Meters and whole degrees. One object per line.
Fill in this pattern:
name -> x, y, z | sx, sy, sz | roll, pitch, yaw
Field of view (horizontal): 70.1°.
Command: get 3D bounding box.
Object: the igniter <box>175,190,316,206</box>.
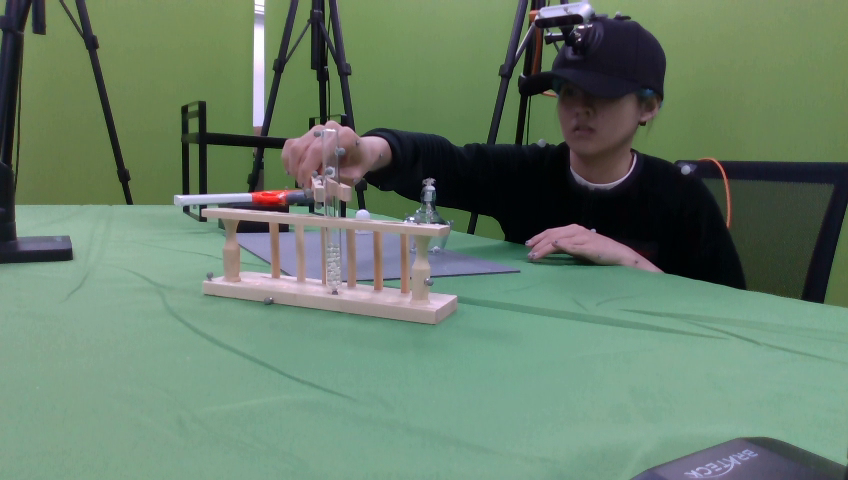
igniter -> -0.315, -0.079, 1.128 | 0.278, 0.025, 0.057 | -5, 13, -34

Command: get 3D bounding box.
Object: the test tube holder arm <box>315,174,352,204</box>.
test tube holder arm -> -0.092, -0.050, 0.582 | 0.010, 0.015, 0.087 | 0, 15, -33

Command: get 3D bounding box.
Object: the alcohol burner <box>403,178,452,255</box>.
alcohol burner -> 0.005, -0.036, 0.923 | 0.078, 0.119, 0.078 | 5, 7, 0

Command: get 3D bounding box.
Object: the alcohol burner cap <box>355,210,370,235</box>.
alcohol burner cap -> -0.117, -0.033, 1.136 | 0.034, 0.048, 0.034 | 2, 7, 0

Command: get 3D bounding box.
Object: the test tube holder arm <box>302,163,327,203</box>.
test tube holder arm -> -0.113, -0.062, 0.619 | 0.013, 0.015, 0.177 | 6, 13, -18

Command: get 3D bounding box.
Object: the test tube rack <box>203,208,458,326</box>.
test tube rack -> -0.090, 0.019, 0.579 | 0.241, 0.085, 0.067 | 5, 7, 19

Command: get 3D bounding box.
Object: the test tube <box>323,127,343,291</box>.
test tube -> -0.083, -0.027, 0.550 | 0.017, 0.150, 0.017 | 0, 8, 0
